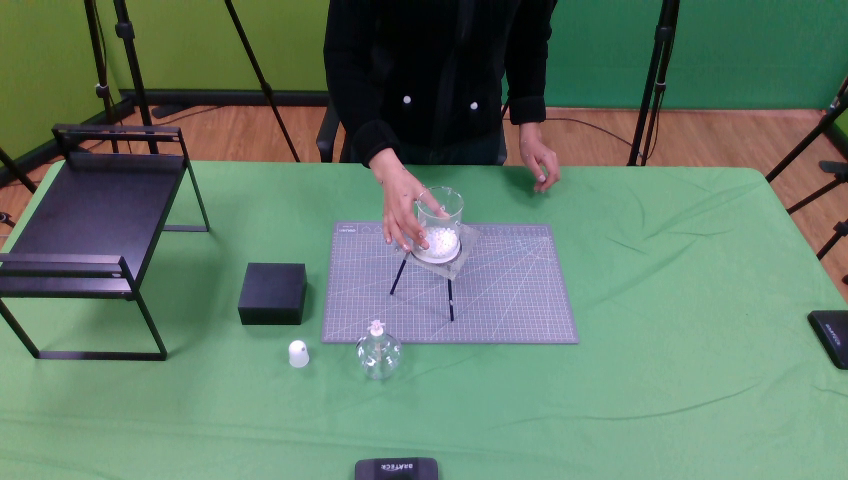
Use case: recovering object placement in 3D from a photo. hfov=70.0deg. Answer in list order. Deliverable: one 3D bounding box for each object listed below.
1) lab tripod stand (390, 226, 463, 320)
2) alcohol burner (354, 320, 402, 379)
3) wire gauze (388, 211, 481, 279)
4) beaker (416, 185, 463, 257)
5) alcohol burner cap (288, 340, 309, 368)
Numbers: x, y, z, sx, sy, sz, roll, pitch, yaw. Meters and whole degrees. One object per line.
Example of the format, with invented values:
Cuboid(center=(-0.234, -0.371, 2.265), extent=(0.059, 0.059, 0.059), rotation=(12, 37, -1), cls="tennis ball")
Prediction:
Cuboid(center=(0.014, 0.053, 1.063), extent=(0.148, 0.132, 0.147), rotation=(1, 48, -1), cls="lab tripod stand")
Cuboid(center=(-0.074, 0.169, 0.964), extent=(0.078, 0.120, 0.077), rotation=(1, 46, -1), cls="alcohol burner")
Cuboid(center=(0.018, 0.003, 1.020), extent=(0.125, 0.011, 0.121), rotation=(20, 48, 18), cls="wire gauze")
Cuboid(center=(0.024, -0.029, 0.983), extent=(0.074, 0.101, 0.083), rotation=(19, 48, 14), cls="beaker")
Cuboid(center=(-0.207, 0.183, 0.991), extent=(0.034, 0.048, 0.033), rotation=(3, 47, -3), cls="alcohol burner cap")
